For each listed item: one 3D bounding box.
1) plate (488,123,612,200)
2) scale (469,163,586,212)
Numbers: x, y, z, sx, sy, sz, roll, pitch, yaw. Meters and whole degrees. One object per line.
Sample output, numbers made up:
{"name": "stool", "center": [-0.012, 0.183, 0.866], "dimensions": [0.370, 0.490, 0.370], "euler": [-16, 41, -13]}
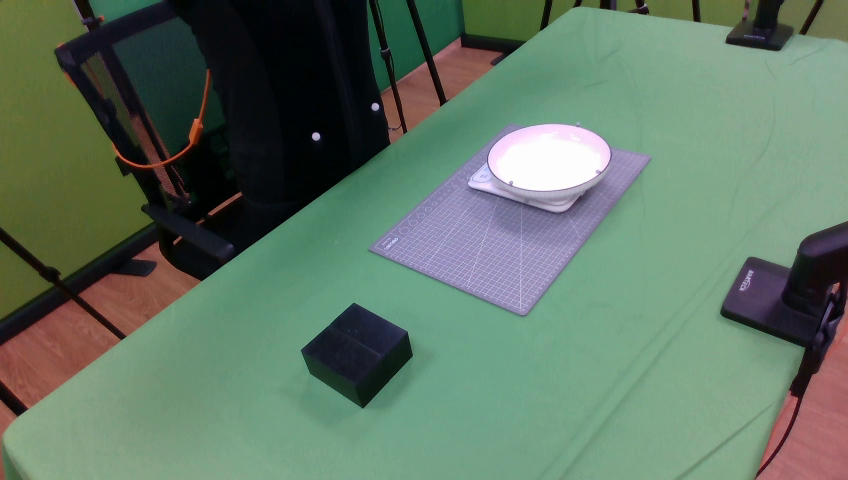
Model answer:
{"name": "plate", "center": [0.214, -0.132, 1.037], "dimensions": [0.209, 0.038, 0.208], "euler": [-6, 41, 5]}
{"name": "scale", "center": [0.194, -0.117, 1.076], "dimensions": [0.199, 0.032, 0.149], "euler": [21, 48, 32]}
